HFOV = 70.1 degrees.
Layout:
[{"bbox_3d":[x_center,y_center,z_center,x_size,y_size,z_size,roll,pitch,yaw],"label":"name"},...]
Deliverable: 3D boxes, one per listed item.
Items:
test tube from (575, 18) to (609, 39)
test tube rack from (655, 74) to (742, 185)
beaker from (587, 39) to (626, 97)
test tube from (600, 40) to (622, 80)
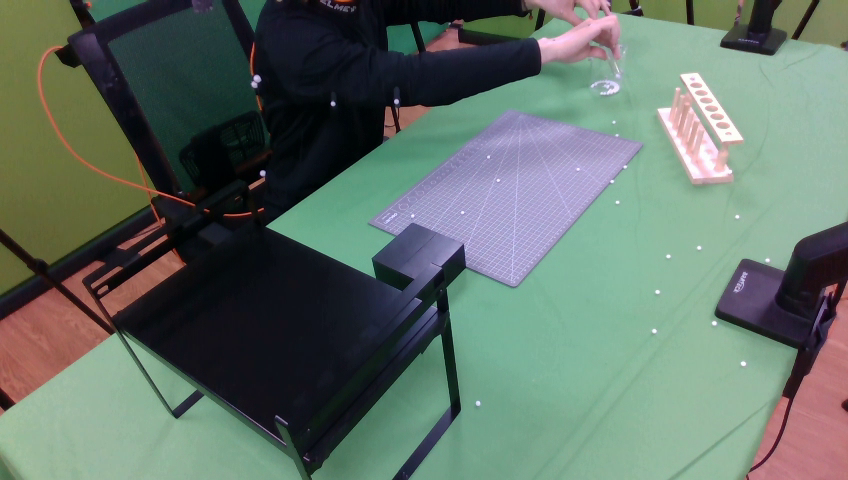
[{"bbox_3d":[0.361,-0.459,1.308,0.017,0.017,0.149,-12,32,-5],"label":"test tube"},{"bbox_3d":[0.488,-0.205,1.093,0.067,0.085,0.241,-3,41,5],"label":"test tube rack"},{"bbox_3d":[0.386,-0.361,1.280,0.074,0.101,0.083,-22,43,-15],"label":"beaker"},{"bbox_3d":[0.362,-0.350,1.175,0.017,0.017,0.149,-3,42,5],"label":"test tube"}]
